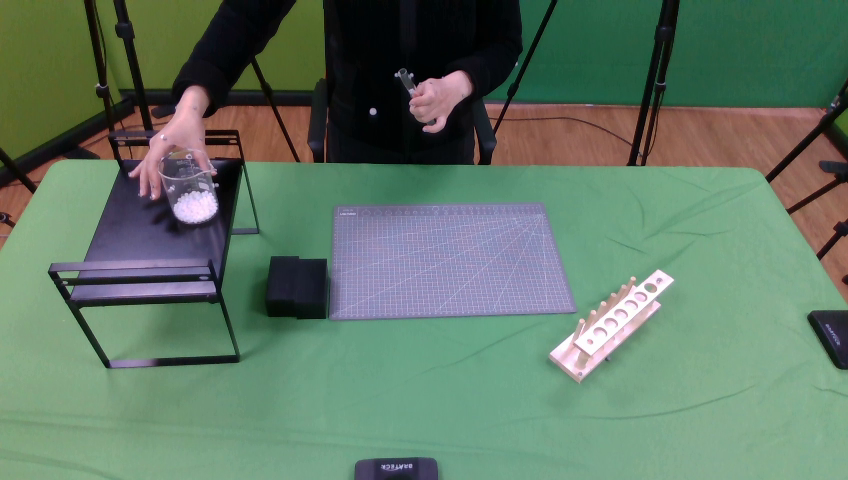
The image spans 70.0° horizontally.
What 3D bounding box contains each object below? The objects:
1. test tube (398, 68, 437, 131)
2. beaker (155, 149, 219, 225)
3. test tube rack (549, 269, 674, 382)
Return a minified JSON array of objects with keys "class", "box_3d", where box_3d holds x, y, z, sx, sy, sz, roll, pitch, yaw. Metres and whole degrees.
[{"class":"test tube","box_3d":[-0.009,-0.239,1.046,0.017,0.151,0.017,-11,57,18]},{"class":"beaker","box_3d":[-0.362,-0.080,0.945,0.084,0.101,0.073,4,46,-1]},{"class":"test tube rack","box_3d":[0.325,0.134,1.047,0.242,0.085,0.066,-32,56,-30]}]
